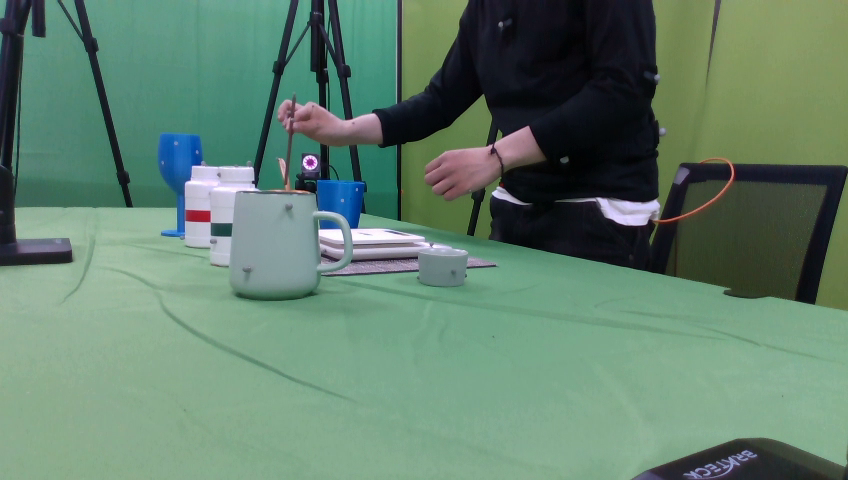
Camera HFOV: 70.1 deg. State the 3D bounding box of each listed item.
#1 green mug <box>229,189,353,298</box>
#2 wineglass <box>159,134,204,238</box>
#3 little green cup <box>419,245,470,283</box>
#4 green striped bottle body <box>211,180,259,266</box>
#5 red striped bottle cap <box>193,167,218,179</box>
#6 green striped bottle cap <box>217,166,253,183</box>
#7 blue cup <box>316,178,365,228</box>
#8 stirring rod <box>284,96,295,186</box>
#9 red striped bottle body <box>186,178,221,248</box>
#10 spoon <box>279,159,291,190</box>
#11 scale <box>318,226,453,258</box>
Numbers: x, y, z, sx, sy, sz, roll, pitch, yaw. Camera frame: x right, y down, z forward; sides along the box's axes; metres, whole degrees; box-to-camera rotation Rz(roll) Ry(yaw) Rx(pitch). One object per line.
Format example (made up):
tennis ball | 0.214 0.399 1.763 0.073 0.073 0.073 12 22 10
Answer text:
green mug | -0.135 0.002 0.618 0.125 0.105 0.092 2 7 4
wineglass | -0.415 -0.093 1.040 0.074 0.172 0.073 2 7 0
little green cup | 0.023 0.028 0.712 0.061 0.038 0.061 2 6 0
green striped bottle body | -0.243 -0.029 0.784 0.063 0.119 0.063 2 7 0
red striped bottle cap | -0.329 -0.102 0.921 0.044 0.017 0.044 0 8 0
green striped bottle cap | -0.242 -0.085 0.777 0.044 0.020 0.044 2 9 0
blue cup | -0.149 -0.057 1.072 0.093 0.100 0.092 3 8 0
stirring rod | -0.266 -0.195 1.194 0.006 0.176 0.014 6 3 -5
red striped bottle body | -0.331 -0.050 0.927 0.063 0.119 0.063 2 6 0
spoon | -0.281 -0.102 1.251 0.042 0.193 0.021 3 -38 -27
scale | -0.066 0.001 0.906 0.202 0.031 0.148 -2 8 -31
